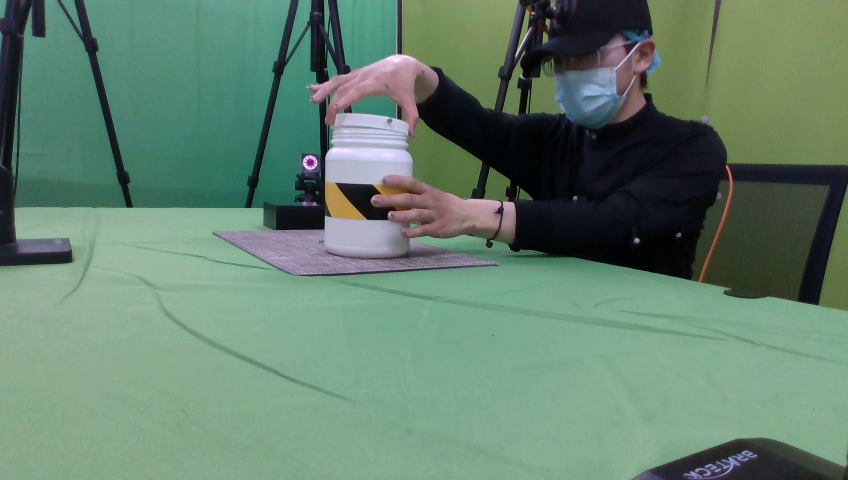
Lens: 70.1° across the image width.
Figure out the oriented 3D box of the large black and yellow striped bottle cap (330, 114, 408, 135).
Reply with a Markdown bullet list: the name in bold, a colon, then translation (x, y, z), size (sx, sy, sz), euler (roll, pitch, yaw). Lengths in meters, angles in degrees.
- **large black and yellow striped bottle cap**: translation (-0.080, -0.169, 0.893), size (0.115, 0.019, 0.115), euler (5, 4, 0)

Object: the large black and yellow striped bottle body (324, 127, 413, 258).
- **large black and yellow striped bottle body**: translation (-0.083, -0.073, 0.900), size (0.131, 0.184, 0.130), euler (2, 7, 0)
